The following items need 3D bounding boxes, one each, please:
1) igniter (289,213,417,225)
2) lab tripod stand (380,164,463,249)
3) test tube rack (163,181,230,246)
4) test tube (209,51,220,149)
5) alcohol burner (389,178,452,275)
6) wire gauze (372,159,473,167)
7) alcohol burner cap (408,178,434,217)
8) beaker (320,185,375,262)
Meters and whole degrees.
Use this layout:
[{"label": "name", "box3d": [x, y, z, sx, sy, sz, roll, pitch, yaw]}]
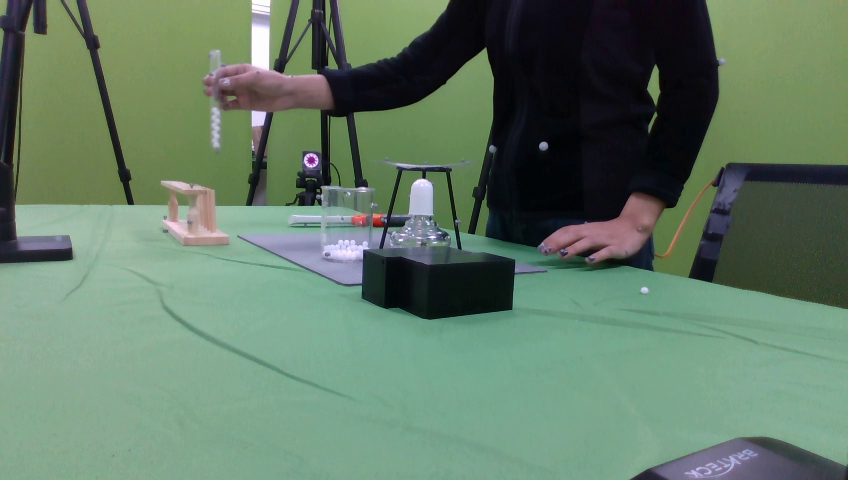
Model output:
[{"label": "igniter", "box3d": [-0.144, -0.044, 1.275, 0.278, 0.025, 0.057, -1, -2, -27]}, {"label": "lab tripod stand", "box3d": [-0.003, -0.055, 0.966, 0.148, 0.131, 0.148, 2, 9, 0]}, {"label": "test tube rack", "box3d": [-0.387, -0.050, 1.015, 0.067, 0.085, 0.241, -2, 9, -30]}, {"label": "test tube", "box3d": [-0.325, -0.216, 0.938, 0.017, 0.150, 0.017, 0, 1, 0]}, {"label": "alcohol burner", "box3d": [-0.004, -0.017, 0.748, 0.078, 0.119, 0.078, 1, 9, 0]}, {"label": "wire gauze", "box3d": [-0.004, -0.122, 0.958, 0.122, 0.011, 0.124, -4, 9, -33]}, {"label": "alcohol burner cap", "box3d": [-0.003, -0.053, 0.746, 0.034, 0.048, 0.034, 2, 3, 0]}, {"label": "beaker", "box3d": [-0.105, -0.024, 0.826, 0.074, 0.100, 0.084, 2, 7, -7]}]
